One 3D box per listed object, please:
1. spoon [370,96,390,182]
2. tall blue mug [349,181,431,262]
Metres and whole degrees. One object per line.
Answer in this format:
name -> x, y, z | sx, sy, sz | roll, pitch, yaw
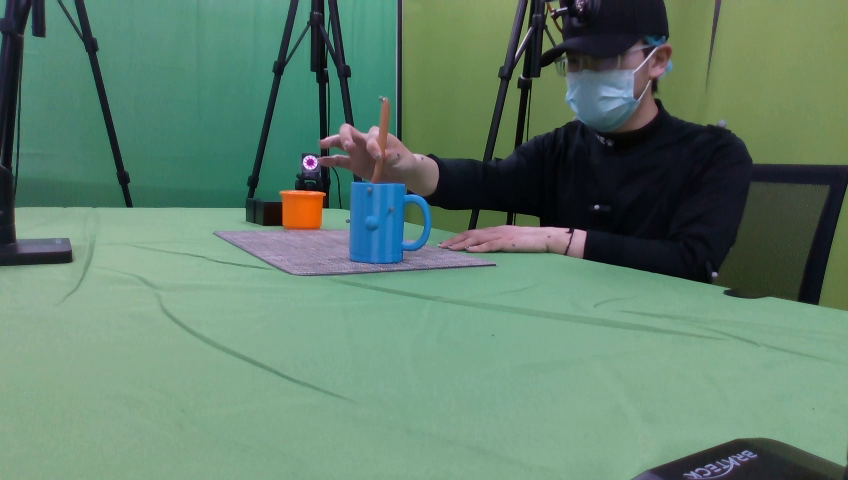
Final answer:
spoon -> -0.066, -0.104, 0.845 | 0.042, 0.193, 0.021 | 8, 8, -35
tall blue mug -> -0.052, -0.028, 0.849 | 0.108, 0.108, 0.077 | -1, 7, -22
